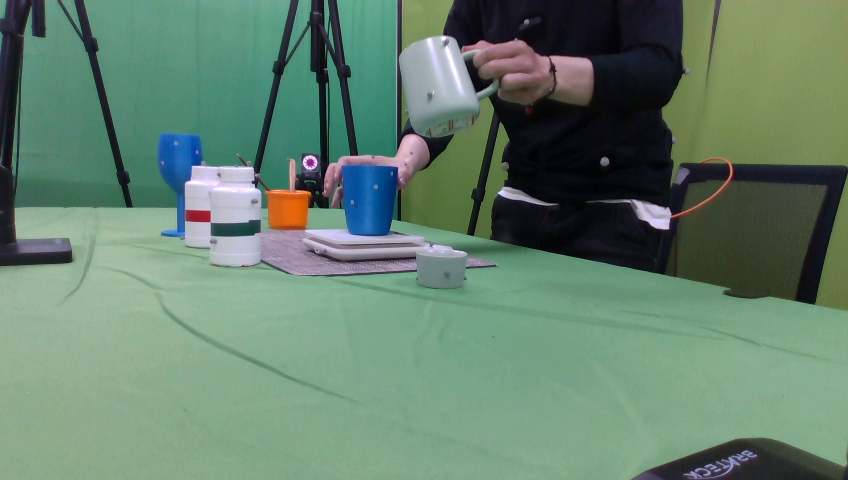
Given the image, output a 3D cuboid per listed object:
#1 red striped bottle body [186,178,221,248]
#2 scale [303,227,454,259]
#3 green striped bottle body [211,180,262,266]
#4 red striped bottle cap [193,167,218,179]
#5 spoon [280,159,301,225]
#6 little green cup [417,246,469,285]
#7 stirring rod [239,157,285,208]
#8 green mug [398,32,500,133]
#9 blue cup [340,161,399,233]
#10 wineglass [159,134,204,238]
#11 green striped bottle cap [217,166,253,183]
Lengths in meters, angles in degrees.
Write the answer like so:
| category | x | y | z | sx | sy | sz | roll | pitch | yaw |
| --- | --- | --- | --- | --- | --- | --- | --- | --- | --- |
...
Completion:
| category | x | y | z | sx | sy | sz | roll | pitch | yaw |
| --- | --- | --- | --- | --- | --- | --- | --- | --- | --- |
| red striped bottle body | -0.331 | -0.050 | 0.927 | 0.063 | 0.119 | 0.063 | 2 | 7 | 0 |
| scale | -0.066 | 0.001 | 0.906 | 0.202 | 0.031 | 0.148 | -2 | 8 | -31 |
| green striped bottle body | -0.243 | -0.029 | 0.784 | 0.063 | 0.119 | 0.063 | 2 | 7 | 0 |
| red striped bottle cap | -0.329 | -0.103 | 0.921 | 0.044 | 0.017 | 0.044 | -1 | 9 | 0 |
| spoon | -0.273 | -0.102 | 1.252 | 0.042 | 0.193 | 0.021 | 7 | -38 | -17 |
| little green cup | 0.021 | 0.029 | 0.701 | 0.061 | 0.038 | 0.061 | 1 | 6 | 0 |
| stirring rod | -0.309 | -0.098 | 1.209 | 0.006 | 0.177 | 0.014 | -38 | 29 | -2 |
| green mug | 0.034 | -0.203 | 0.771 | 0.125 | 0.105 | 0.092 | -16 | -6 | 4 |
| blue cup | -0.079 | -0.061 | 0.885 | 0.093 | 0.100 | 0.092 | 0 | 3 | 0 |
| wineglass | -0.415 | -0.093 | 1.040 | 0.074 | 0.172 | 0.073 | 2 | 7 | 0 |
| green striped bottle cap | -0.242 | -0.085 | 0.776 | 0.044 | 0.020 | 0.044 | 2 | 8 | 0 |
